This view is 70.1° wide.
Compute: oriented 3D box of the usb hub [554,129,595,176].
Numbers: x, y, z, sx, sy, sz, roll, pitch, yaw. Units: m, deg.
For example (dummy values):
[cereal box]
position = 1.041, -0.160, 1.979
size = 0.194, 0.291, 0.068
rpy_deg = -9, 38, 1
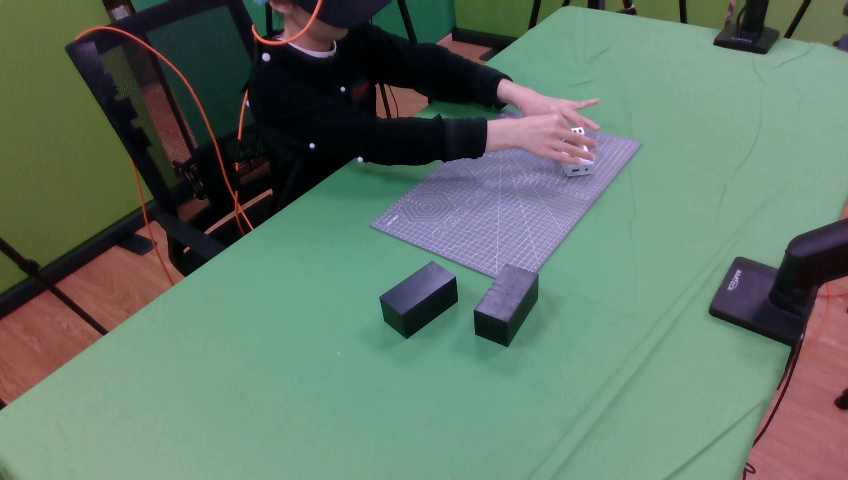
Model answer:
[usb hub]
position = 0.278, -0.163, 1.119
size = 0.049, 0.025, 0.124
rpy_deg = -5, 41, 1

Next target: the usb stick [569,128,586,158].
[usb stick]
position = 0.272, -0.168, 1.072
size = 0.027, 0.059, 0.021
rpy_deg = -8, 41, 2
